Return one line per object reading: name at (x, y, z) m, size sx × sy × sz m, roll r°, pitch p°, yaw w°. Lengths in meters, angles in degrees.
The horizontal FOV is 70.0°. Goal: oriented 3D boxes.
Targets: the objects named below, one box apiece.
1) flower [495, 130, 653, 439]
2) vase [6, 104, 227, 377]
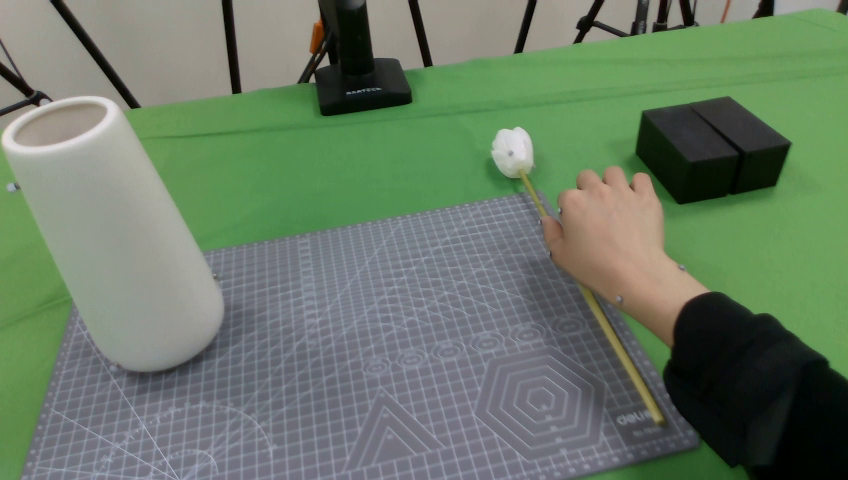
flower at (0.125, 0.014, 0.542) m, size 0.044 × 0.038 × 0.357 m, roll -33°, pitch 42°, yaw 18°
vase at (-0.212, 0.007, 0.435) m, size 0.098 × 0.202 × 0.097 m, roll -2°, pitch 39°, yaw 2°
